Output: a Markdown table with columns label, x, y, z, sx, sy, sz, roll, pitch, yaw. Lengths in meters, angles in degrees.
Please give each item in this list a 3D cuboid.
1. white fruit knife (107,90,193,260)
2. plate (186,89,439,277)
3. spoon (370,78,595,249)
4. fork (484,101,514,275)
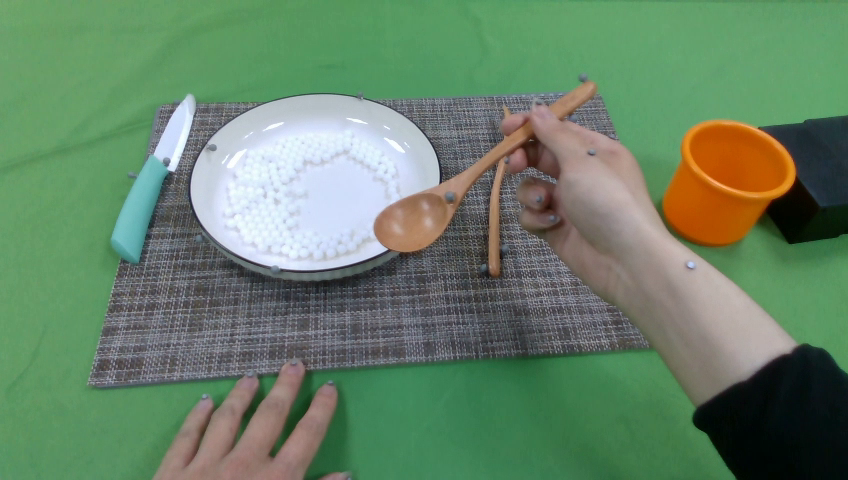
| label | x | y | z | sx | sy | sz | roll | pitch | yaw |
| --- | --- | --- | --- | --- | --- | --- | --- | --- | --- |
| white fruit knife | -0.238 | -0.069 | 0.539 | 0.027 | 0.016 | 0.205 | 22 | 46 | -23 |
| plate | -0.091 | -0.050 | 0.519 | 0.209 | 0.038 | 0.207 | 2 | 52 | -2 |
| spoon | 0.045 | -0.056 | 0.409 | 0.193 | 0.022 | 0.041 | -38 | 66 | -8 |
| fork | 0.067 | -0.054 | 0.545 | 0.018 | 0.028 | 0.205 | -9 | 49 | 28 |
